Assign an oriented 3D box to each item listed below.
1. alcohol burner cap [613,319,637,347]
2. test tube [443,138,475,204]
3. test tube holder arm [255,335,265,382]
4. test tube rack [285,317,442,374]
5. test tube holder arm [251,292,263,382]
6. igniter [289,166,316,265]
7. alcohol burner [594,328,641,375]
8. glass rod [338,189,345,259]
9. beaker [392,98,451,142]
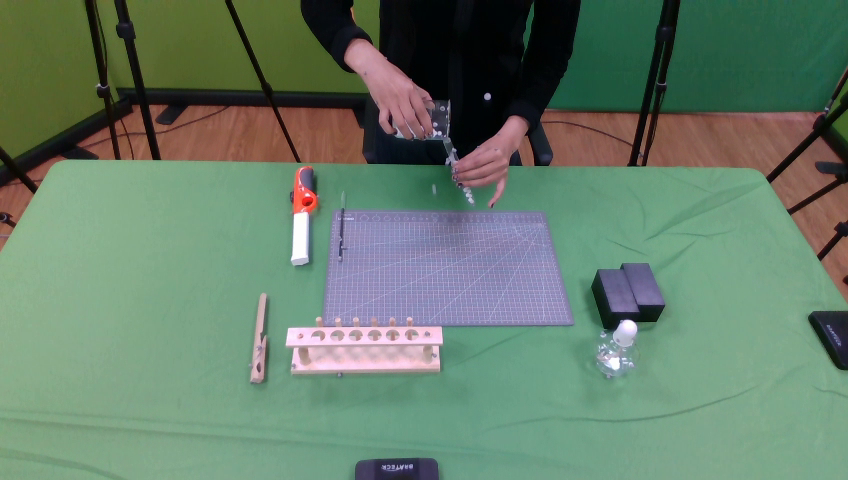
[{"bbox_3d":[0.323,0.146,0.966,0.034,0.048,0.033,-1,52,2],"label":"alcohol burner cap"},{"bbox_3d":[0.068,-0.128,1.147,0.017,0.151,0.017,-17,36,13],"label":"test tube"},{"bbox_3d":[-0.270,0.193,0.997,0.010,0.015,0.087,24,36,-32],"label":"test tube holder arm"},{"bbox_3d":[-0.095,0.166,0.988,0.242,0.085,0.066,0,46,-4],"label":"test tube rack"},{"bbox_3d":[-0.282,0.159,1.025,0.013,0.015,0.177,23,36,-33],"label":"test tube holder arm"},{"bbox_3d":[-0.248,-0.058,1.233,0.057,0.025,0.274,-9,47,1],"label":"igniter"},{"bbox_3d":[0.322,0.170,0.994,0.078,0.119,0.077,3,48,-3],"label":"alcohol burner"},{"bbox_3d":[-0.166,-0.037,1.227,0.008,0.008,0.198,-1,47,-4],"label":"glass rod"},{"bbox_3d":[-0.005,-0.215,1.083,0.100,0.084,0.073,4,42,4],"label":"beaker"}]
